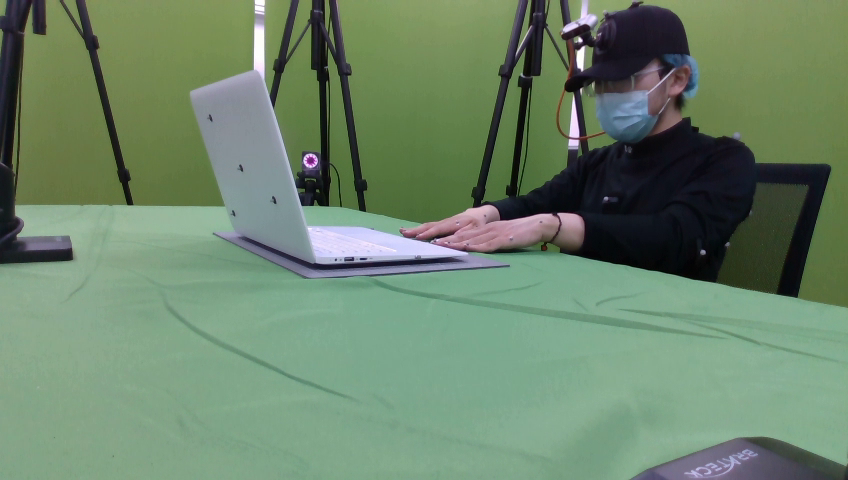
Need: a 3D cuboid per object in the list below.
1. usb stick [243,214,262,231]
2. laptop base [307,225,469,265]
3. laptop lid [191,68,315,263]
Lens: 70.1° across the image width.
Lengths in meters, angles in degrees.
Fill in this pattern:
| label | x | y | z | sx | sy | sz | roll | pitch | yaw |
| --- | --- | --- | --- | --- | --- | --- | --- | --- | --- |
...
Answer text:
| label | x | y | z | sx | sy | sz | roll | pitch | yaw |
| --- | --- | --- | --- | --- | --- | --- | --- | --- | --- |
| usb stick | -0.297 | -0.030 | 1.053 | 0.021 | 0.027 | 0.059 | -1 | 10 | -31 |
| laptop base | -0.125 | 0.005 | 0.936 | 0.237 | 0.023 | 0.352 | 2 | 7 | -33 |
| laptop lid | -0.250 | -0.102 | 0.838 | 0.013 | 0.242 | 0.355 | -22 | 20 | -29 |
